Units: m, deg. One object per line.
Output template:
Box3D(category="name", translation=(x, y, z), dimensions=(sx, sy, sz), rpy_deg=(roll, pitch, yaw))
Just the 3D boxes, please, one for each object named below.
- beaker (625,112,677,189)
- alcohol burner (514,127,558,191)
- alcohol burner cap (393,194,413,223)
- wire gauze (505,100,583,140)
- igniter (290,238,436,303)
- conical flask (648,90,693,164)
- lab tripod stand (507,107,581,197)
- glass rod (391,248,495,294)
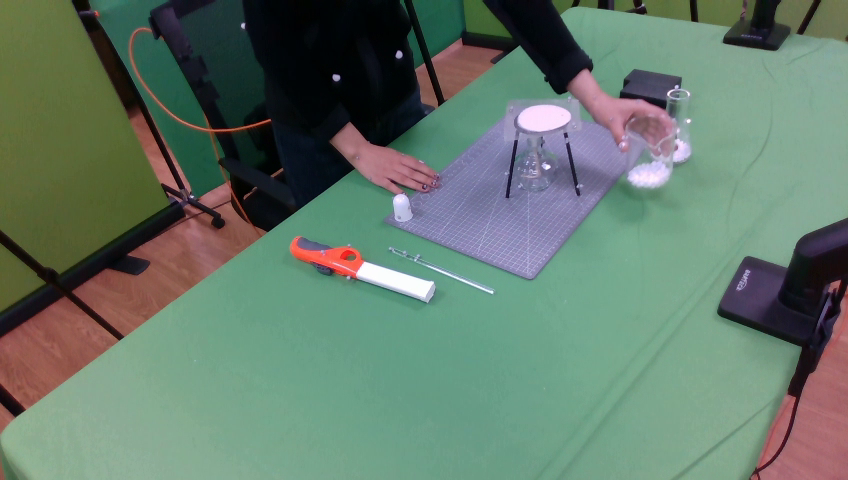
Box3D(category="beaker", translation=(0.354, -0.135, 0.944), dimensions=(0.074, 0.101, 0.083), rpy_deg=(-4, 42, 14))
Box3D(category="alcohol burner", translation=(0.192, -0.145, 1.044), dimensions=(0.078, 0.119, 0.077), rpy_deg=(-5, 42, 5))
Box3D(category="alcohol burner cap", translation=(-0.038, -0.056, 1.038), dimensions=(0.034, 0.048, 0.033), rpy_deg=(-6, 40, 5))
Box3D(category="wire gauze", translation=(0.194, -0.200, 0.987), dimensions=(0.121, 0.011, 0.124), rpy_deg=(-1, 39, 11))
Box3D(category="igniter", translation=(-0.106, 0.044, 0.949), dimensions=(0.274, 0.025, 0.057), rpy_deg=(16, 57, 28))
Box3D(category="conical flask", translation=(0.437, -0.199, 1.057), dimensions=(0.075, 0.122, 0.075), rpy_deg=(-5, 40, 5))
Box3D(category="lab tripod stand", translation=(0.201, -0.151, 1.033), dimensions=(0.148, 0.132, 0.147), rpy_deg=(-7, 38, 6))
Box3D(category="glass rod", translation=(0.026, 0.045, 0.936), dimensions=(0.198, 0.008, 0.008), rpy_deg=(21, 49, 32))
